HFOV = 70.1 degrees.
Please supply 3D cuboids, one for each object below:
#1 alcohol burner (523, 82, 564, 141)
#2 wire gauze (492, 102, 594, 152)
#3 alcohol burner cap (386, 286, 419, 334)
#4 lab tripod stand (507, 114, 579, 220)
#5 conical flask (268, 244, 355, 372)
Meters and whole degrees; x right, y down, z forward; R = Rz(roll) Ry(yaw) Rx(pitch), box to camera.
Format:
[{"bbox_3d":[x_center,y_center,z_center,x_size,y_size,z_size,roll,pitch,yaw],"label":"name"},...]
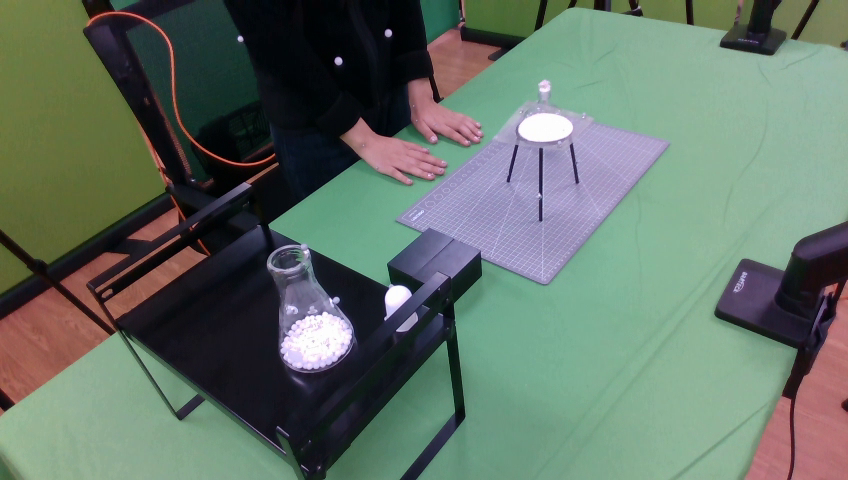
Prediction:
[{"bbox_3d":[0.230,-0.250,1.161,0.078,0.119,0.077,-4,43,4],"label":"alcohol burner"},{"bbox_3d":[0.191,-0.180,0.964,0.120,0.011,0.125,19,48,28],"label":"wire gauze"},{"bbox_3d":[-0.024,0.067,0.604,0.034,0.048,0.033,-5,39,4],"label":"alcohol burner cap"},{"bbox_3d":[0.199,-0.128,1.005,0.148,0.132,0.147,-3,42,3],"label":"lab tripod stand"},{"bbox_3d":[-0.111,0.060,0.564,0.075,0.122,0.075,-5,41,4],"label":"conical flask"}]
